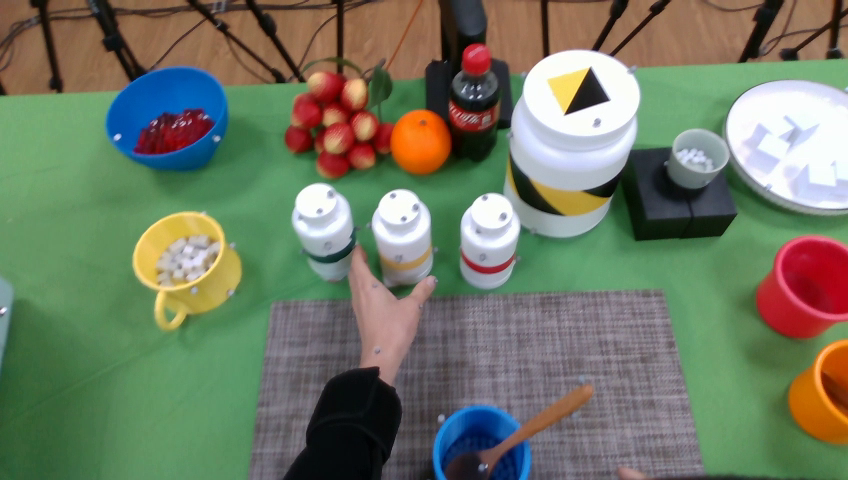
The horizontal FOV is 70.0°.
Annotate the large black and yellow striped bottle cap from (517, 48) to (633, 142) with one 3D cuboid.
[{"bbox_3d":[0.151,-0.148,0.610,0.115,0.019,0.114,-1,59,3],"label":"large black and yellow striped bottle cap"}]

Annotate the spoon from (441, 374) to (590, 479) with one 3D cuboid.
[{"bbox_3d":[0.074,0.168,0.523,0.022,0.194,0.041,3,51,-37],"label":"spoon"}]

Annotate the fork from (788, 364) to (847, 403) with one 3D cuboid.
[{"bbox_3d":[0.432,0.155,0.544,0.028,0.019,0.206,-35,21,-18],"label":"fork"}]

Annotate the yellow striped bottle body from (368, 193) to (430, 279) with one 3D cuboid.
[{"bbox_3d":[-0.027,-0.010,0.673,0.063,0.121,0.062,-1,60,3],"label":"yellow striped bottle body"}]

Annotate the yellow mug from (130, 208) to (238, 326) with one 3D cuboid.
[{"bbox_3d":[-0.276,0.035,0.689,0.100,0.064,0.130,6,61,6],"label":"yellow mug"}]

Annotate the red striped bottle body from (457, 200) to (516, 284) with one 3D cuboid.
[{"bbox_3d":[0.068,-0.005,0.666,0.063,0.121,0.062,-2,59,4],"label":"red striped bottle body"}]

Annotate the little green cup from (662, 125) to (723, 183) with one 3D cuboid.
[{"bbox_3d":[0.306,-0.097,0.697,0.061,0.039,0.061,0,58,0],"label":"little green cup"}]

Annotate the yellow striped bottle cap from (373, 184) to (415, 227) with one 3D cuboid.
[{"bbox_3d":[-0.031,-0.036,0.627,0.044,0.019,0.044,2,57,-2],"label":"yellow striped bottle cap"}]

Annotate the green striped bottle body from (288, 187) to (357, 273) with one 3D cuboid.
[{"bbox_3d":[-0.114,-0.016,0.680,0.063,0.120,0.062,-1,60,2],"label":"green striped bottle body"}]

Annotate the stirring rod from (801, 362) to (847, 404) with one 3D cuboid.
[{"bbox_3d":[0.402,0.155,0.553,0.014,0.006,0.175,1,17,0],"label":"stirring rod"}]

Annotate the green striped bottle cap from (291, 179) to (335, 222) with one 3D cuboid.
[{"bbox_3d":[-0.117,-0.042,0.635,0.044,0.020,0.044,-1,59,2],"label":"green striped bottle cap"}]

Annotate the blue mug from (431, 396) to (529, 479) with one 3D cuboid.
[{"bbox_3d":[0.036,0.208,0.551,0.116,0.107,0.081,-35,64,-16],"label":"blue mug"}]

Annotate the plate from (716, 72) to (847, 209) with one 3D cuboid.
[{"bbox_3d":[0.472,-0.123,0.764,0.209,0.038,0.207,-1,61,2],"label":"plate"}]

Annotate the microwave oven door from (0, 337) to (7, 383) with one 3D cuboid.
[{"bbox_3d":[-0.450,0.206,0.477,0.039,0.246,0.352,-11,60,-2],"label":"microwave oven door"}]

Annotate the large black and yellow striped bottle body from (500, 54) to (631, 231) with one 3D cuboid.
[{"bbox_3d":[0.156,-0.108,0.684,0.131,0.185,0.129,-1,60,2],"label":"large black and yellow striped bottle body"}]

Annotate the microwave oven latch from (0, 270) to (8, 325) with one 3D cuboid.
[{"bbox_3d":[-0.486,0.070,0.672,0.030,0.030,0.078,-9,61,-3],"label":"microwave oven latch"}]

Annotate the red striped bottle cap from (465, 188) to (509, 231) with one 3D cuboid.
[{"bbox_3d":[0.065,-0.032,0.621,0.044,0.018,0.044,1,59,-1],"label":"red striped bottle cap"}]

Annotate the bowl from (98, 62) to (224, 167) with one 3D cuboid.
[{"bbox_3d":[-0.326,-0.148,0.787,0.151,0.077,0.150,-1,61,2],"label":"bowl"}]
